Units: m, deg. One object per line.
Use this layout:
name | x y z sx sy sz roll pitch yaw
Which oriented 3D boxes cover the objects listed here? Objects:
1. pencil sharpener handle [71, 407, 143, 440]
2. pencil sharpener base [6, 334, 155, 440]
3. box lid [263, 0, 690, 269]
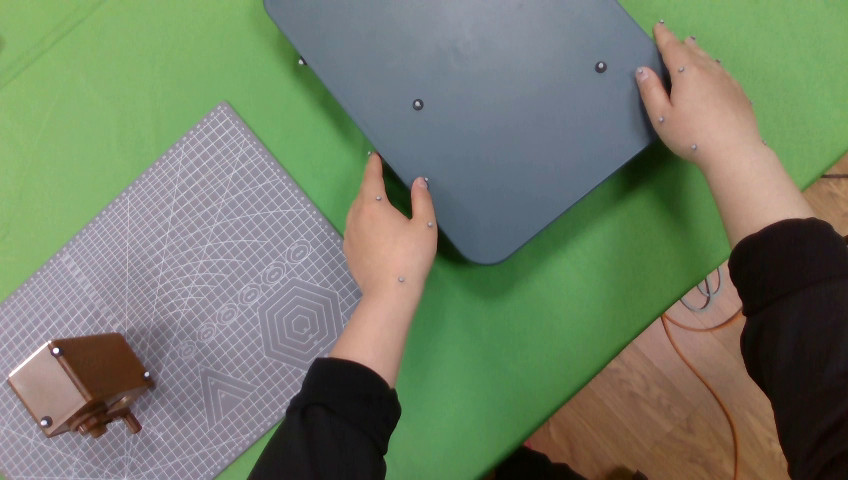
pencil sharpener handle | -0.297 0.179 0.576 0.036 0.068 0.030 -41 82 8
pencil sharpener base | -0.329 0.142 0.594 0.061 0.107 0.076 -40 83 2
box lid | 0.040 -0.184 0.581 0.263 0.015 0.370 -39 83 2
